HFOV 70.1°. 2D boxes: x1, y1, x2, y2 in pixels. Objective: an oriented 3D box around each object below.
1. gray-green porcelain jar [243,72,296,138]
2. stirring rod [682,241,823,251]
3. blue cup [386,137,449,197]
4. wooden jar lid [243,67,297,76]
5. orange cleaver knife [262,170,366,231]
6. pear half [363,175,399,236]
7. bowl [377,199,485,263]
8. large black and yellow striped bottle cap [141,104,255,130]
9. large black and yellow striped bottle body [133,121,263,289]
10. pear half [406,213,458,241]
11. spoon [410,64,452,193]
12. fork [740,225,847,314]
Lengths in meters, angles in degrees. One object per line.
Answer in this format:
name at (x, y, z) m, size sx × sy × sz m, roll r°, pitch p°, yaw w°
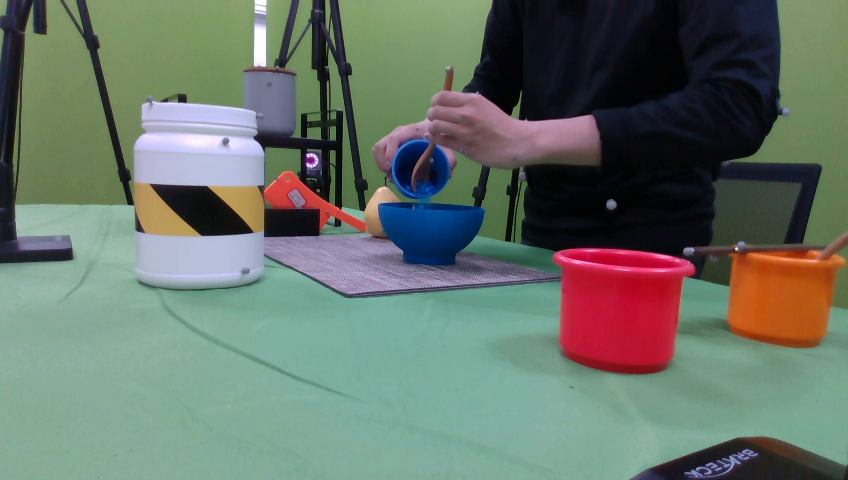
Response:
gray-green porcelain jar at (-0.322, -0.279, 1.263) m, size 0.106 × 0.126 × 0.106 m, roll 3°, pitch 8°, yaw 0°
stirring rod at (0.290, 0.005, 0.525) m, size 0.177 × 0.006 × 0.014 m, roll -1°, pitch 5°, yaw -26°
blue cup at (-0.013, -0.103, 0.912) m, size 0.093 × 0.092 × 0.100 m, roll 1°, pitch -2°, yaw -8°
wooden jar lid at (-0.319, -0.342, 1.254) m, size 0.108 × 0.020 × 0.108 m, roll 3°, pitch 8°, yaw 0°
orange cleaver knife at (-0.201, -0.057, 1.136) m, size 0.212 × 0.077 × 0.012 m, roll 31°, pitch -3°, yaw -31°
pear half at (-0.064, -0.061, 1.077) m, size 0.055 × 0.110 × 0.077 m, roll 9°, pitch 14°, yaw 39°
bowl at (0.008, -0.013, 0.842) m, size 0.151 × 0.077 × 0.151 m, roll 2°, pitch 8°, yaw 0°
large black and yellow striped bottle cap at (-0.241, -0.131, 0.650) m, size 0.115 × 0.019 × 0.115 m, roll 3°, pitch 8°, yaw 0°
large black and yellow striped bottle body at (-0.243, -0.048, 0.659) m, size 0.131 × 0.184 × 0.130 m, roll 2°, pitch 7°, yaw 0°
pear half at (0.007, -0.021, 0.847) m, size 0.070 × 0.031 × 0.088 m, roll 2°, pitch 11°, yaw 39°
spoon at (0.013, -0.146, 0.820) m, size 0.021 × 0.193 × 0.042 m, roll 37°, pitch 40°, yaw 21°
fork at (0.323, 0.013, 0.485) m, size 0.028 × 0.018 × 0.207 m, roll 8°, pitch -38°, yaw -6°
